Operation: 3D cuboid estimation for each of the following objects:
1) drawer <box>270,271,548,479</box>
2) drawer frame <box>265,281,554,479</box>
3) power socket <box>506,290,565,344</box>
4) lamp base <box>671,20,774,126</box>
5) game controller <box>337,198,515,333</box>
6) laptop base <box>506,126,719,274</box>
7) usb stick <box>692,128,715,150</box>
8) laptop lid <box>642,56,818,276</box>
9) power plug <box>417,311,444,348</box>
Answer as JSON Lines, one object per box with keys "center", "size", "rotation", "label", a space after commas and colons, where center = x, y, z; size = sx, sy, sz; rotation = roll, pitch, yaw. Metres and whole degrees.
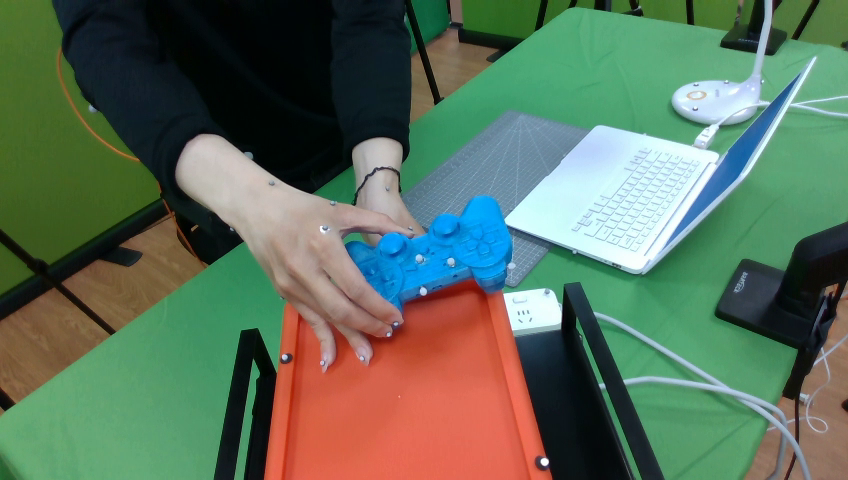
{"center": [-0.018, 0.132, 0.498], "size": [0.195, 0.073, 0.210], "rotation": [-7, 41, -1], "label": "drawer"}
{"center": [-0.016, 0.134, 0.494], "size": [0.202, 0.083, 0.212], "rotation": [-8, 41, -2], "label": "drawer frame"}
{"center": [0.081, 0.112, 0.822], "size": [0.227, 0.033, 0.072], "rotation": [-7, 40, 0], "label": "power socket"}
{"center": [0.581, -0.332, 1.154], "size": [0.179, 0.181, 0.160], "rotation": [2, 42, 7], "label": "lamp base"}
{"center": [0.002, 0.015, 0.515], "size": [0.155, 0.052, 0.096], "rotation": [-19, 58, 0], "label": "game controller"}
{"center": [0.325, -0.084, 1.027], "size": [0.233, 0.023, 0.355], "rotation": [21, 48, 32], "label": "laptop base"}
{"center": [0.501, -0.175, 1.091], "size": [0.021, 0.027, 0.059], "rotation": [29, 55, 28], "label": "usb stick"}
{"center": [0.445, -0.108, 0.876], "size": [0.013, 0.241, 0.357], "rotation": [39, 53, 12], "label": "laptop lid"}
{"center": [0.006, 0.123, 0.784], "size": [0.035, 0.053, 0.072], "rotation": [0, 42, 7], "label": "power plug"}
